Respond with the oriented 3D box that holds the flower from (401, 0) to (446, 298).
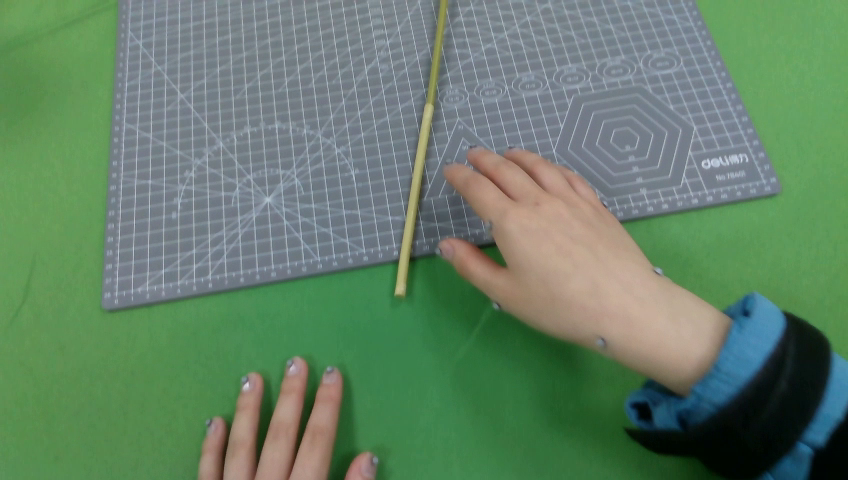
[{"bbox_3d":[0.007,-0.132,0.447,0.044,0.038,0.359,17,69,-31],"label":"flower"}]
